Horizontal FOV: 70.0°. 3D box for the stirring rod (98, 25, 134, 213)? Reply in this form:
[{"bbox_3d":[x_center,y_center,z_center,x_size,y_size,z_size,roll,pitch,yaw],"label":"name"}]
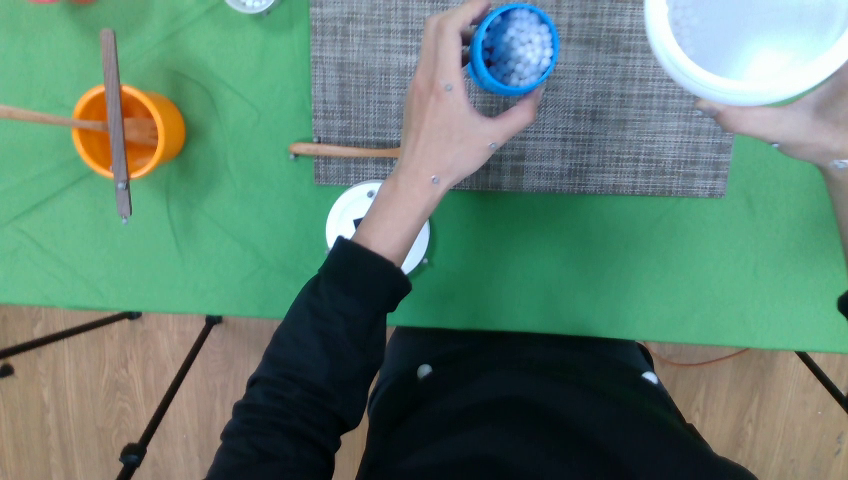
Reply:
[{"bbox_3d":[-0.294,-0.112,0.579,0.014,0.006,0.177,1,105,1],"label":"stirring rod"}]

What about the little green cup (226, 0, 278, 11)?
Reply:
[{"bbox_3d":[-0.169,-0.257,0.599,0.061,0.038,0.062,0,105,2],"label":"little green cup"}]

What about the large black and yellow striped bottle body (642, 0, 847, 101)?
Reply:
[{"bbox_3d":[0.219,-0.163,0.406,0.130,0.184,0.131,7,108,23],"label":"large black and yellow striped bottle body"}]

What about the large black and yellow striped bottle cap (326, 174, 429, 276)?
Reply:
[{"bbox_3d":[-0.052,-0.016,0.673,0.115,0.018,0.115,0,108,0],"label":"large black and yellow striped bottle cap"}]

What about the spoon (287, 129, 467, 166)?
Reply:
[{"bbox_3d":[-0.051,-0.100,0.644,0.194,0.021,0.042,1,125,1],"label":"spoon"}]

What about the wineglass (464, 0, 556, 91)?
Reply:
[{"bbox_3d":[0.071,-0.171,0.545,0.074,0.171,0.074,0,104,1],"label":"wineglass"}]

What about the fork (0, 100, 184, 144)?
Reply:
[{"bbox_3d":[-0.337,-0.117,0.582,0.209,0.018,0.028,2,117,-45],"label":"fork"}]
